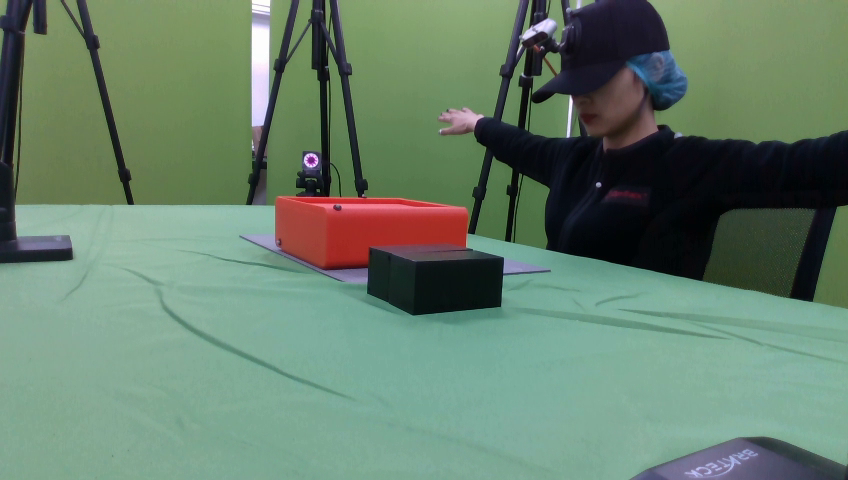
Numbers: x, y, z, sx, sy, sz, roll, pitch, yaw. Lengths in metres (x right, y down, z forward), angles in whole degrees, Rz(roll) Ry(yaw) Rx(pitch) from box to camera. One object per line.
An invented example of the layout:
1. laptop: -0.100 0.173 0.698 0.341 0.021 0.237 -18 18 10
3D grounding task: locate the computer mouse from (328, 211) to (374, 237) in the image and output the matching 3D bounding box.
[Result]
1. computer mouse: -0.132 -0.030 1.113 0.063 0.041 0.117 5 12 7

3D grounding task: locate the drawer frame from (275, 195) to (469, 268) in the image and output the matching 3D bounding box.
1. drawer frame: -0.078 -0.019 0.859 0.215 0.082 0.200 -3 9 -32

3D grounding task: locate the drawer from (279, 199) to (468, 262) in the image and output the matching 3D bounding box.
1. drawer: -0.076 -0.018 0.860 0.213 0.073 0.193 -2 9 -31
